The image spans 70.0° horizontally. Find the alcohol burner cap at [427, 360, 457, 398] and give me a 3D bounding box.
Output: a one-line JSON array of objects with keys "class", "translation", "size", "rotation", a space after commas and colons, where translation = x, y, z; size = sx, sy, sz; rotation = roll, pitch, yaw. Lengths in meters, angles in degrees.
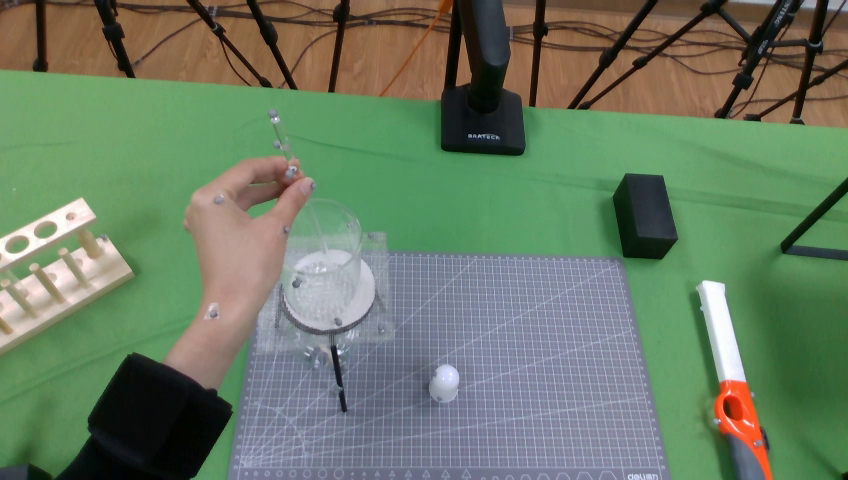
[{"class": "alcohol burner cap", "translation": [0.021, 0.147, 0.647], "size": [0.034, 0.048, 0.033], "rotation": [2, 58, -3]}]

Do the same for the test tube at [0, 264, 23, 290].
[{"class": "test tube", "translation": [-0.441, 0.008, 0.608], "size": [0.017, 0.151, 0.017], "rotation": [3, 53, -4]}]

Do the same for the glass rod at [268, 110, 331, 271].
[{"class": "glass rod", "translation": [-0.096, -0.029, 0.486], "size": [0.008, 0.201, 0.008], "rotation": [-2, 56, 3]}]

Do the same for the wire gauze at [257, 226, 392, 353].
[{"class": "wire gauze", "translation": [-0.094, 0.041, 0.570], "size": [0.121, 0.011, 0.124], "rotation": [-3, 62, -6]}]

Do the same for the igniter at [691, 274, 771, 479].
[{"class": "igniter", "translation": [0.343, 0.162, 0.680], "size": [0.057, 0.025, 0.274], "rotation": [10, 57, -11]}]

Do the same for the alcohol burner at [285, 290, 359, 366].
[{"class": "alcohol burner", "translation": [-0.107, 0.084, 0.631], "size": [0.078, 0.120, 0.077], "rotation": [4, 56, -5]}]

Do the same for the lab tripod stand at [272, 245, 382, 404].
[{"class": "lab tripod stand", "translation": [-0.096, 0.080, 0.623], "size": [0.148, 0.132, 0.147], "rotation": [3, 58, -5]}]

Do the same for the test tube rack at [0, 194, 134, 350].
[{"class": "test tube rack", "translation": [-0.447, 0.057, 0.635], "size": [0.242, 0.086, 0.066], "rotation": [-35, 67, -24]}]

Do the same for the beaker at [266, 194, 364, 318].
[{"class": "beaker", "translation": [-0.095, 0.017, 0.527], "size": [0.084, 0.101, 0.073], "rotation": [24, 59, 9]}]
